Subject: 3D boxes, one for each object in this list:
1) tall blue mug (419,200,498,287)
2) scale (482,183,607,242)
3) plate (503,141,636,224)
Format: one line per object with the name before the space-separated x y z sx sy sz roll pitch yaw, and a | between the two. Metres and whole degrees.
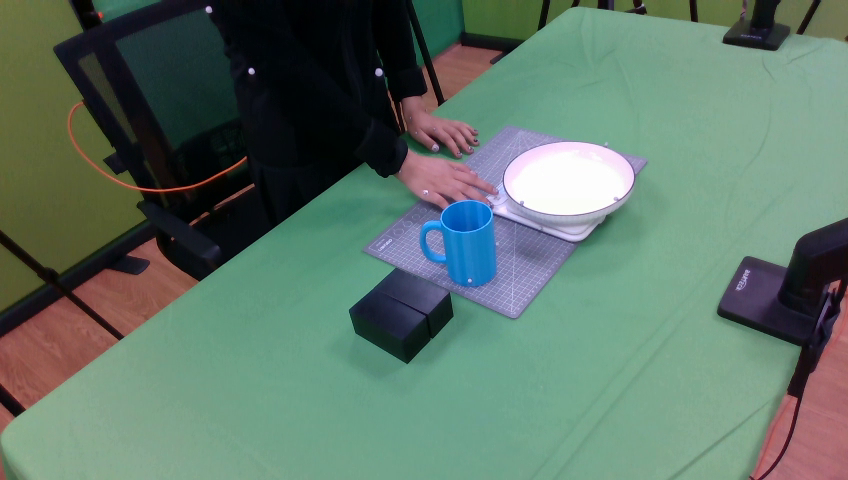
tall blue mug | 0.053 0.010 0.889 0.107 0.108 0.077 -16 41 -7
scale | 0.211 -0.070 1.014 0.199 0.032 0.149 24 50 33
plate | 0.233 -0.091 0.983 0.209 0.038 0.208 -5 41 5
